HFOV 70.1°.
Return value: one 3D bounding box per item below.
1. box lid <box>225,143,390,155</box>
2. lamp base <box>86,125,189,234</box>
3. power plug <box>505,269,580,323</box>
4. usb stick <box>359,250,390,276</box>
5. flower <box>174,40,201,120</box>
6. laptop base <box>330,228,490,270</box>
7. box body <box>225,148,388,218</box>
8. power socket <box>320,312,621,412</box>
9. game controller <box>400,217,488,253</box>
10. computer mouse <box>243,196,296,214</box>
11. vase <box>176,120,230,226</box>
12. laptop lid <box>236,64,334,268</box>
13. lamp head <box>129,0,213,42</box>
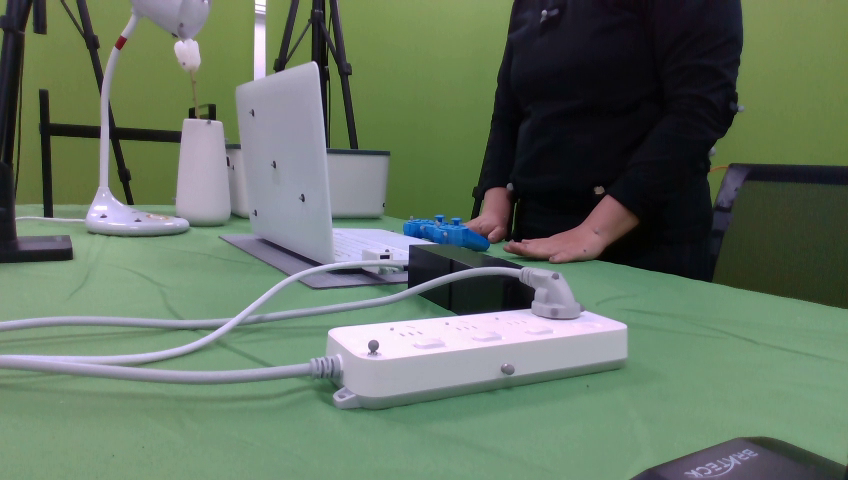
[{"bbox_3d":[-0.296,-0.217,1.463,0.373,0.015,0.262,-2,8,-29],"label":"box lid"},{"bbox_3d":[-0.497,-0.105,1.027,0.179,0.180,0.160,1,7,2],"label":"lamp base"},{"bbox_3d":[0.092,0.051,0.470,0.035,0.052,0.072,0,6,-16],"label":"power plug"},{"bbox_3d":[-0.061,0.026,0.709,0.021,0.027,0.059,-2,4,-29],"label":"usb stick"},{"bbox_3d":[-0.430,-0.211,1.166,0.044,0.361,0.038,-10,-5,-24],"label":"flower"},{"bbox_3d":[-0.096,0.011,0.912,0.237,0.023,0.352,3,6,-32],"label":"laptop base"},{"bbox_3d":[-0.298,-0.143,1.474,0.366,0.160,0.253,-1,9,-29],"label":"box body"},{"bbox_3d":[0.038,0.075,0.409,0.228,0.032,0.072,-2,8,-29],"label":"power socket"},{"bbox_3d":[0.029,-0.011,1.027,0.097,0.051,0.154,-3,9,-34],"label":"game controller"},{"bbox_3d":[-0.362,-0.082,1.416,0.117,0.041,0.063,-3,10,5],"label":"computer mouse"},{"bbox_3d":[-0.424,-0.128,1.159,0.098,0.200,0.098,2,9,0],"label":"vase"},{"bbox_3d":[-0.202,-0.103,0.828,0.013,0.241,0.355,-9,14,-30],"label":"laptop lid"},{"bbox_3d":[-0.423,-0.394,0.980,0.123,0.112,0.112,20,7,-3],"label":"lamp head"}]
